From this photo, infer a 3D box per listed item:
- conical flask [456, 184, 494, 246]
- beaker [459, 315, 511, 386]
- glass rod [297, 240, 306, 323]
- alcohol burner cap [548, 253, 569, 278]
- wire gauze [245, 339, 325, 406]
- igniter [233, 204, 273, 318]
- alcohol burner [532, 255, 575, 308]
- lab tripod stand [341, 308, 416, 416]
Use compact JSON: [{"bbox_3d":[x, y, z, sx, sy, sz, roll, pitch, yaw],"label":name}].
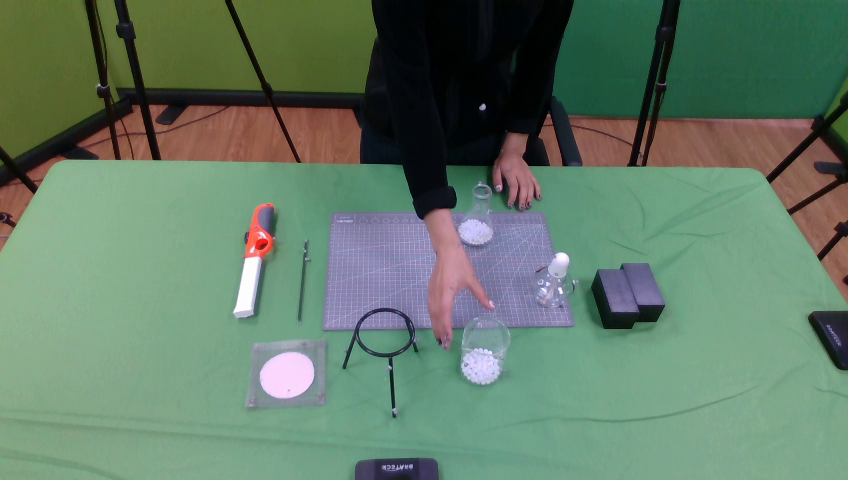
[{"bbox_3d":[0.106,-0.052,1.185,0.075,0.122,0.075,2,46,-2],"label":"conical flask"},{"bbox_3d":[0.094,0.183,0.977,0.084,0.101,0.073,-20,50,-21],"label":"beaker"},{"bbox_3d":[-0.227,0.072,1.121,0.008,0.008,0.198,-2,46,-5],"label":"glass rod"},{"bbox_3d":[0.238,0.042,1.060,0.034,0.048,0.033,1,53,-1],"label":"alcohol burner cap"},{"bbox_3d":[-0.224,0.215,0.984,0.125,0.011,0.120,-2,46,-5],"label":"wire gauze"},{"bbox_3d":[-0.321,0.029,1.143,0.057,0.025,0.274,-7,46,3],"label":"igniter"},{"bbox_3d":[0.235,0.066,1.087,0.078,0.119,0.077,4,45,-3],"label":"alcohol burner"},{"bbox_3d":[-0.061,0.177,0.946,0.148,0.132,0.147,2,44,-2],"label":"lab tripod stand"}]
